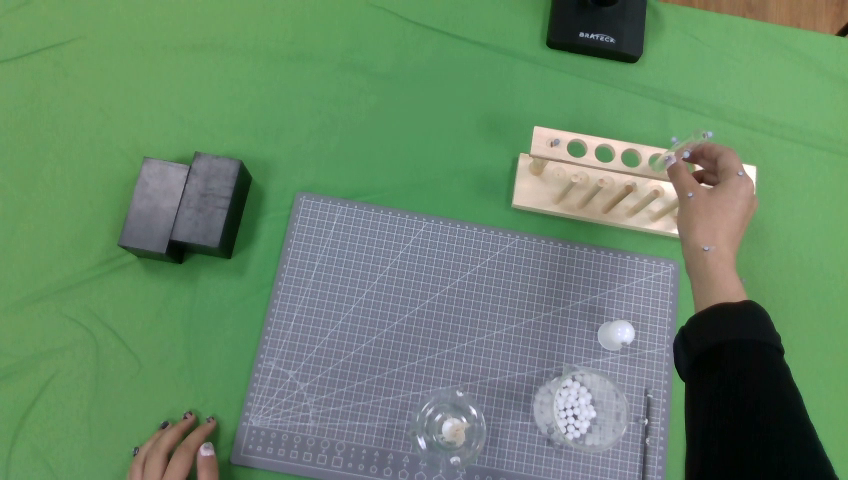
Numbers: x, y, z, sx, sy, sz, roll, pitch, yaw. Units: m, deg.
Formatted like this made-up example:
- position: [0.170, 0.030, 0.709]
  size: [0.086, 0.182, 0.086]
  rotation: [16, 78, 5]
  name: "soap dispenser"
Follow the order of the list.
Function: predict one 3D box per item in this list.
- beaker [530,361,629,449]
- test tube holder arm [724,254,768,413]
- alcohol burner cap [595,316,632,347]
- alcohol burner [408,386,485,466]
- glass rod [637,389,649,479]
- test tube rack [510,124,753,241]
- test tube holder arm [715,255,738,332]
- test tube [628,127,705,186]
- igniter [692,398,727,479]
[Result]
- position: [0.149, 0.165, 0.609]
  size: [0.074, 0.100, 0.083]
  rotation: [-21, 77, -9]
  name: "beaker"
- position: [0.360, 0.103, 0.681]
  size: [0.013, 0.015, 0.177]
  rotation: [-16, 75, 27]
  name: "test tube holder arm"
- position: [0.209, 0.098, 0.659]
  size: [0.034, 0.048, 0.033]
  rotation: [1, 76, -3]
  name: "alcohol burner cap"
- position: [0.023, 0.181, 0.590]
  size: [0.078, 0.119, 0.077]
  rotation: [1, 73, -3]
  name: "alcohol burner"
- position: [0.227, 0.258, 0.637]
  size: [0.008, 0.008, 0.198]
  rotation: [10, 75, -1]
  name: "glass rod"
- position: [0.227, -0.062, 0.681]
  size: [0.242, 0.085, 0.066]
  rotation: [10, 75, -1]
  name: "test tube rack"
- position: [0.348, 0.061, 0.693]
  size: [0.010, 0.015, 0.087]
  rotation: [-14, 76, 28]
  name: "test tube holder arm"
- position: [0.248, -0.084, 0.634]
  size: [0.017, 0.150, 0.017]
  rotation: [1, 78, -4]
  name: "test tube"
- position: [0.287, 0.303, 0.624]
  size: [0.057, 0.025, 0.275]
  rotation: [14, 75, -10]
  name: "igniter"
